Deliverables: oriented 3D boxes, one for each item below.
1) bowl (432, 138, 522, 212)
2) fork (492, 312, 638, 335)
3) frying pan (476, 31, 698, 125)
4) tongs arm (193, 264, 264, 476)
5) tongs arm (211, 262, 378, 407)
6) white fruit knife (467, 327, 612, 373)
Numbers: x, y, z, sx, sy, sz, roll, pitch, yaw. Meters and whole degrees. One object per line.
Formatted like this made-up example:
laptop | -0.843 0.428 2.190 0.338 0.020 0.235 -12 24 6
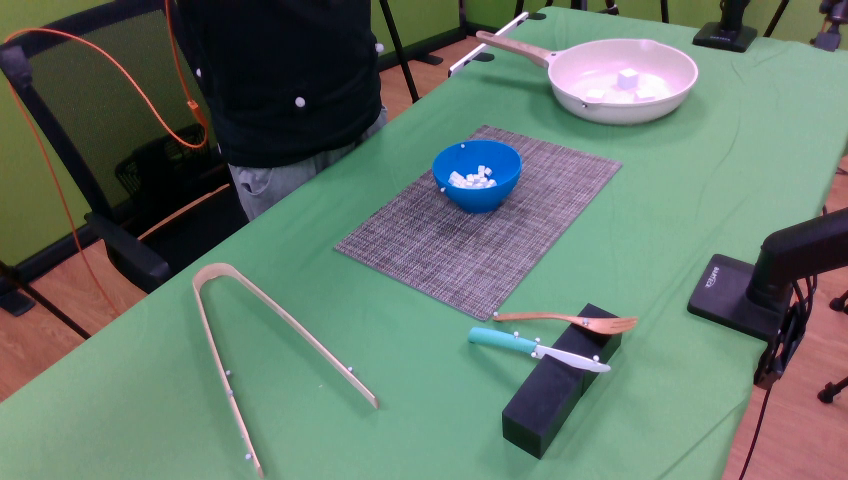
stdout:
bowl | 0.091 -0.100 1.022 0.151 0.077 0.150 -4 41 4
fork | 0.173 0.103 0.774 0.206 0.019 0.028 0 38 40
frying pan | 0.320 -0.371 1.290 0.484 0.103 0.307 29 51 24
tongs arm | -0.259 0.153 0.816 0.051 0.026 0.381 -25 42 -20
tongs arm | -0.193 0.120 0.850 0.028 0.028 0.384 -38 49 -27
white fruit knife | 0.134 0.134 0.742 0.205 0.027 0.016 7 34 41
